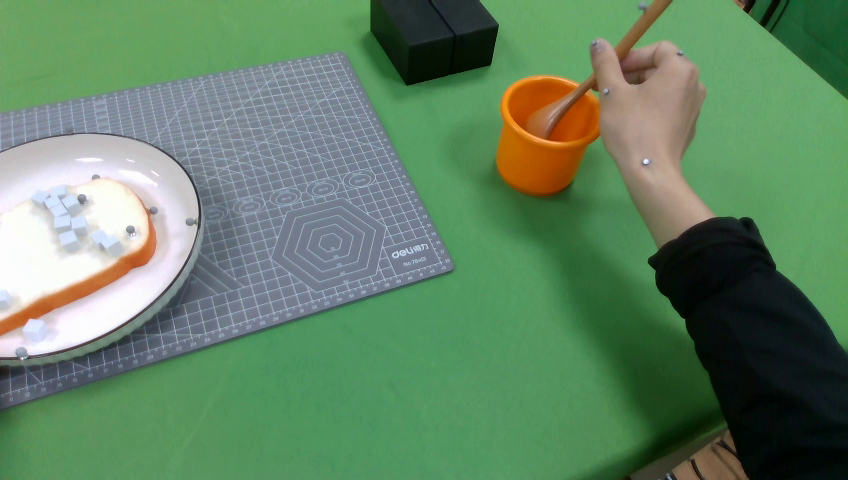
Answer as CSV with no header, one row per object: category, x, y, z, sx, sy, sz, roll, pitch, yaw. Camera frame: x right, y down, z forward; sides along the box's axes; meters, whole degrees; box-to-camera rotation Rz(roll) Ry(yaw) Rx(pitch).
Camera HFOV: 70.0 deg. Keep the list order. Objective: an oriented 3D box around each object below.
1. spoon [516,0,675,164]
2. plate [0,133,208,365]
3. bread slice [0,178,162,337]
spoon,0.140,-0.136,0.513,0.022,0.194,0.041,18,41,-35
plate,-0.272,0.003,0.463,0.209,0.038,0.207,3,54,-4
bread slice,-0.276,0.002,0.468,0.131,0.019,0.104,-30,63,-23
